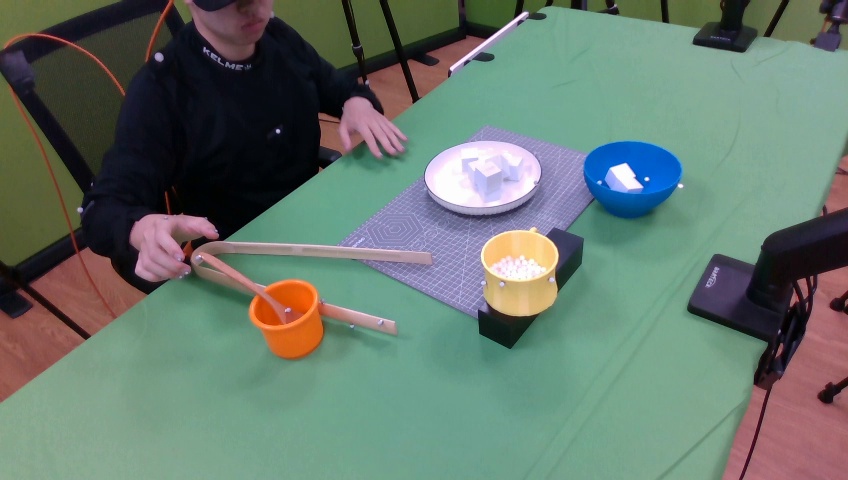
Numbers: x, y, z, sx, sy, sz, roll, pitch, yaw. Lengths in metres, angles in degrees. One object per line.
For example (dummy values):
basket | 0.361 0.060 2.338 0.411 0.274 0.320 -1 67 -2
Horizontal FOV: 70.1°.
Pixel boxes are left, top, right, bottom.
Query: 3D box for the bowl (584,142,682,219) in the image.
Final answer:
bowl | 0.333 -0.087 0.980 0.151 0.077 0.150 -4 40 3

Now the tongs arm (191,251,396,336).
tongs arm | -0.204 0.074 0.902 0.382 0.026 0.051 11 44 22

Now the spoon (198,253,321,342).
spoon | -0.220 0.076 0.814 0.021 0.194 0.041 -38 17 36

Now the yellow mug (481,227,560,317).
yellow mug | 0.132 0.032 0.801 0.099 0.064 0.131 11 43 20

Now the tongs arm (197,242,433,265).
tongs arm | -0.176 0.024 0.960 0.386 0.028 0.028 2 45 12

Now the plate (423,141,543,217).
plate | 0.103 -0.103 1.059 0.207 0.039 0.206 -4 40 4
